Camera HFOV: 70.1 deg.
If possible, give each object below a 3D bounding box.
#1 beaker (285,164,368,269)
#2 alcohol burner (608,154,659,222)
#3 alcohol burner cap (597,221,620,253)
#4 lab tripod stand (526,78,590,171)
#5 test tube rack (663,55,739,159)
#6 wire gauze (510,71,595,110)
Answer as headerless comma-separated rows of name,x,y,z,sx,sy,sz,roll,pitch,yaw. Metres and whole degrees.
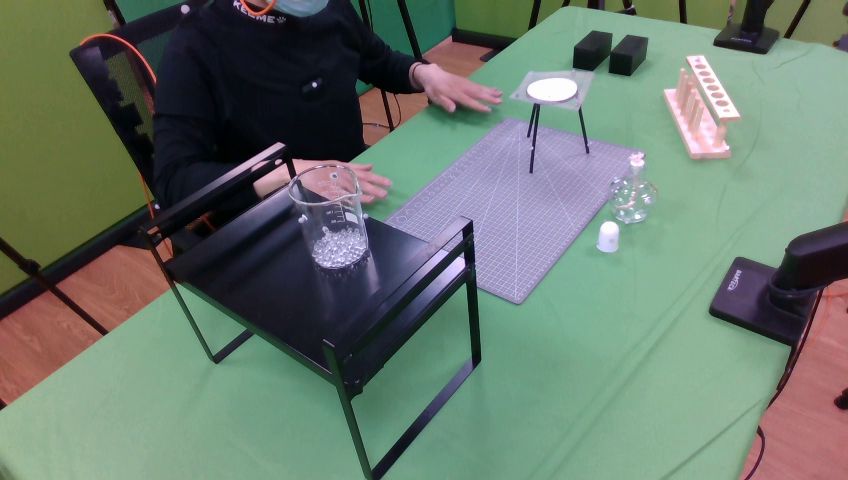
beaker,-0.102,-0.024,0.676,0.083,0.101,0.074,8,43,17
alcohol burner,0.333,-0.087,0.954,0.078,0.119,0.077,-3,42,3
alcohol burner cap,0.283,-0.007,0.924,0.034,0.048,0.033,-4,39,4
lab tripod stand,0.228,-0.216,1.097,0.148,0.132,0.147,-6,40,5
test tube rack,0.518,-0.256,1.144,0.066,0.085,0.241,-1,41,8
wire gauze,0.224,-0.267,1.053,0.124,0.011,0.121,12,44,23
